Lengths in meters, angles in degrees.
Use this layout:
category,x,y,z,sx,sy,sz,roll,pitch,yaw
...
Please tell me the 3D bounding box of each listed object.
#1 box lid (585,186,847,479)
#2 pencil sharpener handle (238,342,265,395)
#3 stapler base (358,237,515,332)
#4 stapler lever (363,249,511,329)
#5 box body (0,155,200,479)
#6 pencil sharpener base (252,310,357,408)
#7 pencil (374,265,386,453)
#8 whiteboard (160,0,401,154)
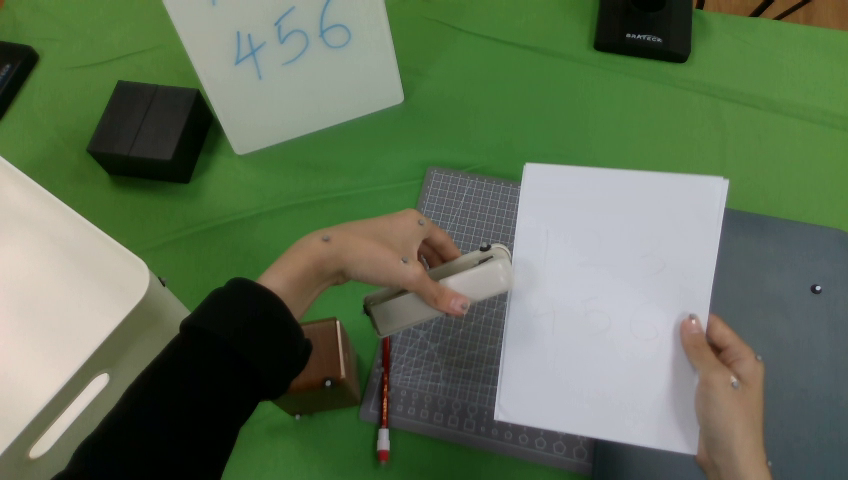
category,x,y,z,sx,sy,sz,roll,pitch,yaw
box lid,0.310,0.121,0.606,0.263,0.015,0.369,11,67,5
pencil sharpener handle,-0.159,0.121,0.549,0.030,0.068,0.035,-9,50,-2
stapler base,0.012,0.036,0.495,0.130,0.024,0.041,-21,92,0
stapler lever,0.011,0.038,0.470,0.118,0.040,0.027,-21,91,-1
box body,-0.430,0.061,0.565,0.362,0.161,0.253,31,70,14
pencil sharpener base,-0.109,0.115,0.565,0.077,0.108,0.061,-9,65,-2
pencil,-0.043,0.115,0.614,0.012,0.012,0.192,-1,66,1
whiteboard,-0.172,-0.288,0.674,0.217,0.308,0.142,-20,47,-7
